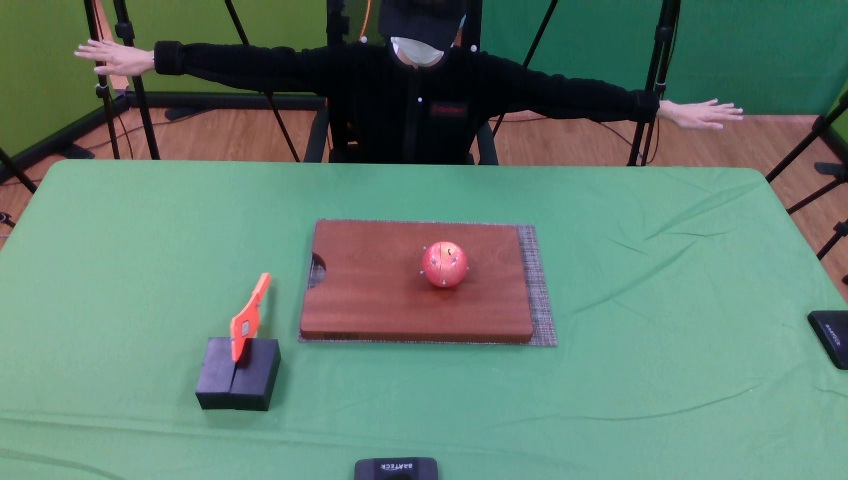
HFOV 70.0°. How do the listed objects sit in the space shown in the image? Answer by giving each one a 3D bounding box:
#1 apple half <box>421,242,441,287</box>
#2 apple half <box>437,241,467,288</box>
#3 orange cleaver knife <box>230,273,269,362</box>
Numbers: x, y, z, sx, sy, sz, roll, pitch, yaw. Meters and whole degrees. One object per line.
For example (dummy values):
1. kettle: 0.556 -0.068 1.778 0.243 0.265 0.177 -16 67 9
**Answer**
1. apple half: 0.010 0.045 1.079 0.033 0.081 0.081 3 45 -6
2. apple half: 0.049 0.047 1.083 0.053 0.075 0.080 3 41 -6
3. orange cleaver knife: -0.290 0.124 1.014 0.012 0.077 0.210 1 23 1
